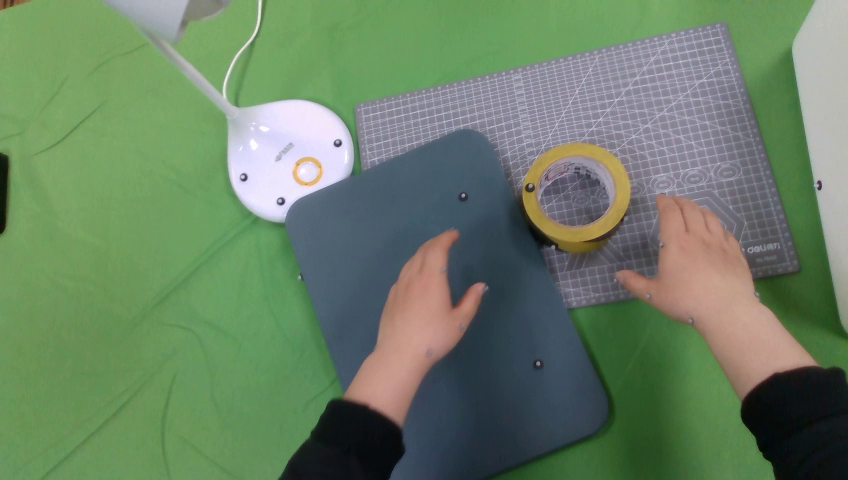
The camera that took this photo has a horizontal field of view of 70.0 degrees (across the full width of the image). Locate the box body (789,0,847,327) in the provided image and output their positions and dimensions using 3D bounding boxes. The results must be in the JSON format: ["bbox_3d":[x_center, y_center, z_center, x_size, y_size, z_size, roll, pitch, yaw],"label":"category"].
[{"bbox_3d":[0.507,-0.096,0.546,0.254,0.161,0.362,-4,76,10],"label":"box body"}]

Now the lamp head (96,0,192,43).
[{"bbox_3d":[-0.201,-0.204,0.393,0.123,0.112,0.112,21,80,-19],"label":"lamp head"}]

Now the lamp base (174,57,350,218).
[{"bbox_3d":[-0.194,-0.128,0.682,0.178,0.181,0.160,29,83,19],"label":"lamp base"}]

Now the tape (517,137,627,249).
[{"bbox_3d":[0.161,-0.052,0.659,0.116,0.053,0.116,-2,76,10],"label":"tape"}]

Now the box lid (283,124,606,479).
[{"bbox_3d":[0.011,0.067,0.676,0.263,0.015,0.369,-24,76,3],"label":"box lid"}]
